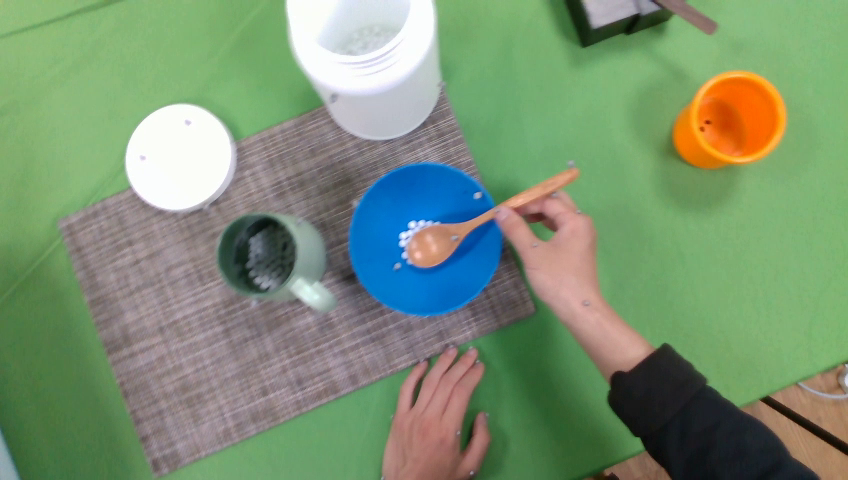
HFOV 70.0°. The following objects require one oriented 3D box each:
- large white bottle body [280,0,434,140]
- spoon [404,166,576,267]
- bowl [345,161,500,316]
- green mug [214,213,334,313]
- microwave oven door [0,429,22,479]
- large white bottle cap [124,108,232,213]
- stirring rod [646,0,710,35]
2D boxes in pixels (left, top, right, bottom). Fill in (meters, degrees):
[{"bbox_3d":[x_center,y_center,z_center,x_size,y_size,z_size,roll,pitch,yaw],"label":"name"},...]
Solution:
[{"bbox_3d":[-0.059,-0.182,0.579,0.130,0.185,0.130,0,83,3],"label":"large white bottle body"},{"bbox_3d":[0.059,-0.023,0.587,0.193,0.022,0.041,-27,78,31],"label":"spoon"},{"bbox_3d":[0.000,0.000,0.622,0.151,0.077,0.151,0,87,2],"label":"bowl"},{"bbox_3d":[-0.142,0.028,0.611,0.125,0.105,0.092,40,88,3],"label":"green mug"},{"bbox_3d":[-0.460,0.223,0.528,0.039,0.244,0.355,-25,87,0],"label":"microwave oven door"},{"bbox_3d":[-0.269,-0.087,0.663,0.115,0.018,0.114,0,86,2],"label":"large white bottle cap"},{"bbox_3d":[0.213,-0.261,0.615,0.176,0.006,0.014,34,122,2],"label":"stirring rod"}]
